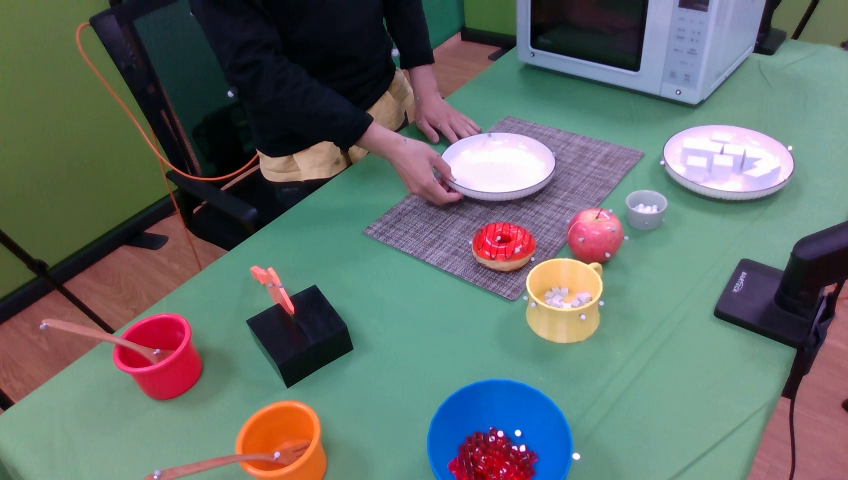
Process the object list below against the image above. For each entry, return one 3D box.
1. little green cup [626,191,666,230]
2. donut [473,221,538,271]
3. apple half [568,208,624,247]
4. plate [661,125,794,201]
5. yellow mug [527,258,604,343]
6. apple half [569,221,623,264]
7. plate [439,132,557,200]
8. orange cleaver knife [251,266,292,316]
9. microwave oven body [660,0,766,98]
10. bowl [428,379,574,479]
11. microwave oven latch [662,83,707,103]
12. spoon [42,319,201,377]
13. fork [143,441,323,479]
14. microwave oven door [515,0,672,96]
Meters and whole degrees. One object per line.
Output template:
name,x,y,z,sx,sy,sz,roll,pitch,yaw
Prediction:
little green cup,0.352,-0.046,0.963,0.061,0.039,0.061,-4,40,4
donut,0.124,0.008,0.923,0.099,0.048,0.098,-4,38,3
apple half,0.259,-0.014,0.914,0.080,0.075,0.053,0,36,15
plate,0.513,-0.128,1.035,0.207,0.039,0.206,-4,40,4
yellow mug,0.201,0.073,0.825,0.131,0.064,0.099,-32,46,-27
apple half,0.251,0.010,0.884,0.081,0.081,0.032,3,37,12
plate,0.131,-0.128,1.082,0.209,0.038,0.208,-2,38,2
orange cleaver knife,-0.221,0.071,0.873,0.012,0.077,0.210,-25,11,-21
microwave oven body,0.472,-0.513,1.317,0.438,0.261,0.327,26,51,34
bowl,0.082,0.233,0.644,0.151,0.077,0.150,-4,39,4
microwave oven latch,0.517,-0.296,1.204,0.078,0.029,0.030,27,52,35
spoon,-0.385,0.135,0.779,0.195,0.021,0.041,29,37,-26
fork,-0.189,0.231,0.631,0.028,0.018,0.209,36,13,37
microwave oven door,0.343,-0.454,1.259,0.353,0.245,0.039,26,51,33
